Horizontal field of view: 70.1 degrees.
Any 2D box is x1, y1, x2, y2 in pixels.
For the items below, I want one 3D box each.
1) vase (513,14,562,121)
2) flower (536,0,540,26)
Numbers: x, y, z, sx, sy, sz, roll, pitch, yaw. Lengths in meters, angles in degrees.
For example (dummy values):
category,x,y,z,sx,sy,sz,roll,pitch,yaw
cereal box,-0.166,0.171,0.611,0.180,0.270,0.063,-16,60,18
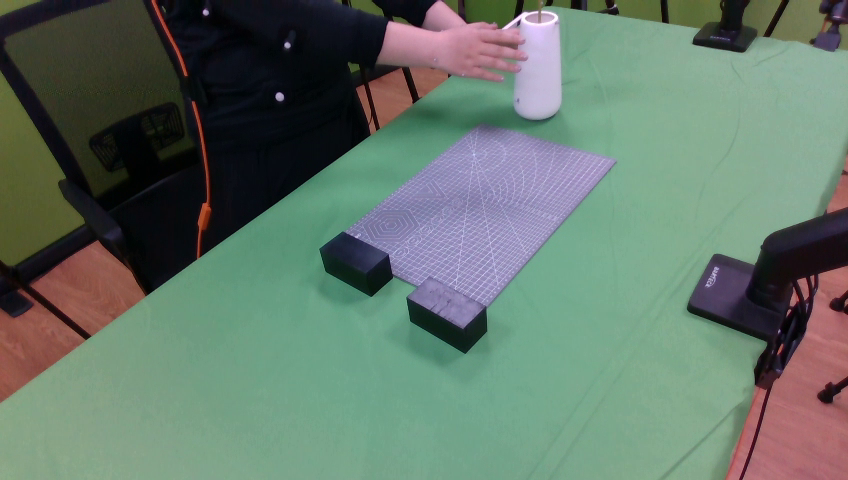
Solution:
category,x,y,z,sx,sy,sz,roll,pitch,yaw
vase,0.225,-0.336,1.196,0.098,0.201,0.097,-5,42,5
flower,0.214,-0.386,1.130,0.044,0.363,0.038,9,62,14
